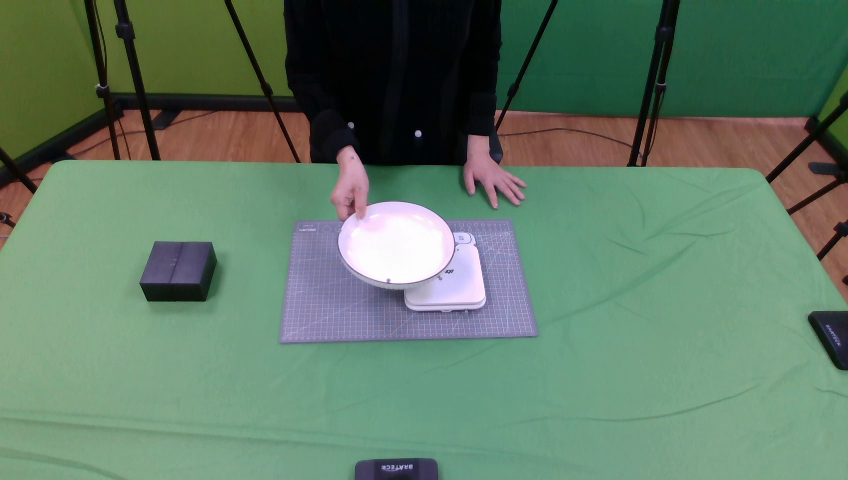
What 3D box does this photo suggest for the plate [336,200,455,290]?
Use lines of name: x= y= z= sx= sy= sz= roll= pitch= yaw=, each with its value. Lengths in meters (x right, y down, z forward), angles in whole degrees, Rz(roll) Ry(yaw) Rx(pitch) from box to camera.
plate: x=-0.051 y=0.011 z=1.071 sx=0.209 sy=0.038 sz=0.208 roll=3 pitch=46 yaw=-3

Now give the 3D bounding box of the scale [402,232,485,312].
scale: x=0.031 y=0.050 z=1.141 sx=0.149 sy=0.032 sz=0.199 roll=-1 pitch=46 yaw=-6
